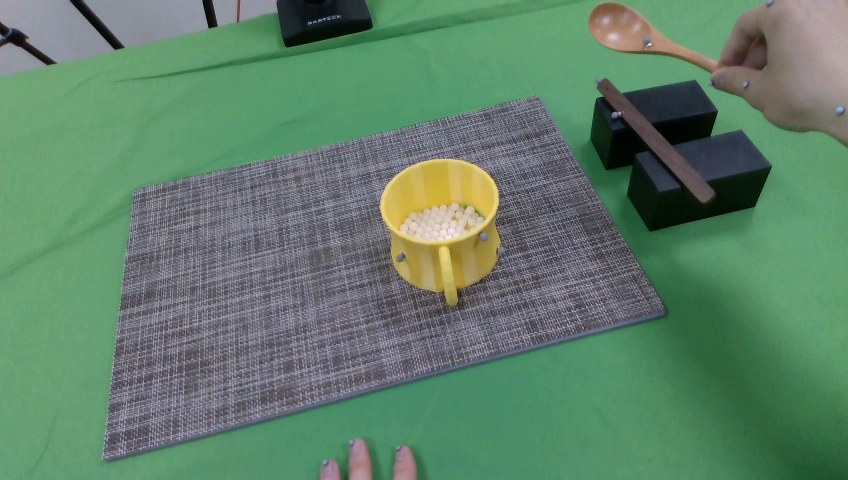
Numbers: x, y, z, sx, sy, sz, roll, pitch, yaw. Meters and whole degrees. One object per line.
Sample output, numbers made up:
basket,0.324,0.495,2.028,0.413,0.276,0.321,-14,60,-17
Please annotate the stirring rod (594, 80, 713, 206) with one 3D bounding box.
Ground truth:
stirring rod,0.199,-0.092,0.541,0.014,0.006,0.174,-41,48,19

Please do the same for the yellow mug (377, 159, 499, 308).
yellow mug,0.016,-0.002,0.515,0.100,0.064,0.129,-8,50,2

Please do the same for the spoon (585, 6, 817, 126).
spoon,0.205,-0.135,0.463,0.041,0.022,0.192,-43,58,-12
